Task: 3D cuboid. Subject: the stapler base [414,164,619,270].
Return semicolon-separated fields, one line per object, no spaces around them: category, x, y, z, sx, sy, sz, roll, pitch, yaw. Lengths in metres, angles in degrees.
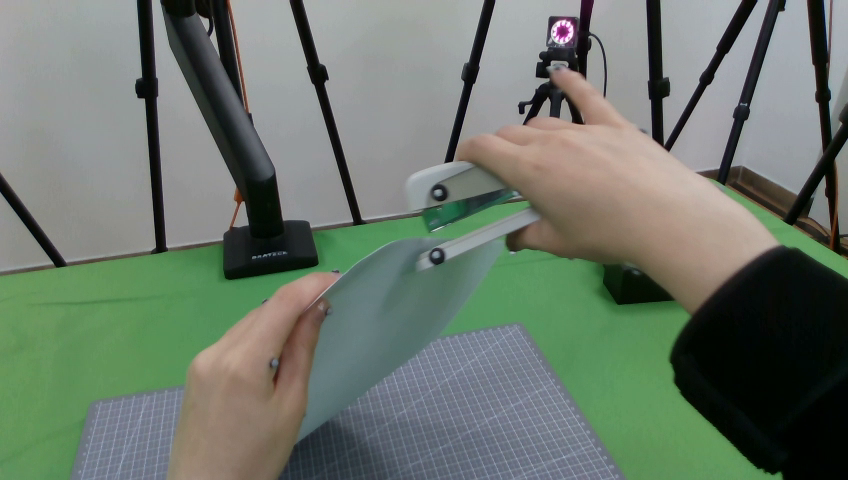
stapler base;0.051;-0.018;0.368;0.130;0.024;0.041;-23;2;14

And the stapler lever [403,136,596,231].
stapler lever;0.042;-0.041;0.367;0.118;0.040;0.027;-23;3;14
